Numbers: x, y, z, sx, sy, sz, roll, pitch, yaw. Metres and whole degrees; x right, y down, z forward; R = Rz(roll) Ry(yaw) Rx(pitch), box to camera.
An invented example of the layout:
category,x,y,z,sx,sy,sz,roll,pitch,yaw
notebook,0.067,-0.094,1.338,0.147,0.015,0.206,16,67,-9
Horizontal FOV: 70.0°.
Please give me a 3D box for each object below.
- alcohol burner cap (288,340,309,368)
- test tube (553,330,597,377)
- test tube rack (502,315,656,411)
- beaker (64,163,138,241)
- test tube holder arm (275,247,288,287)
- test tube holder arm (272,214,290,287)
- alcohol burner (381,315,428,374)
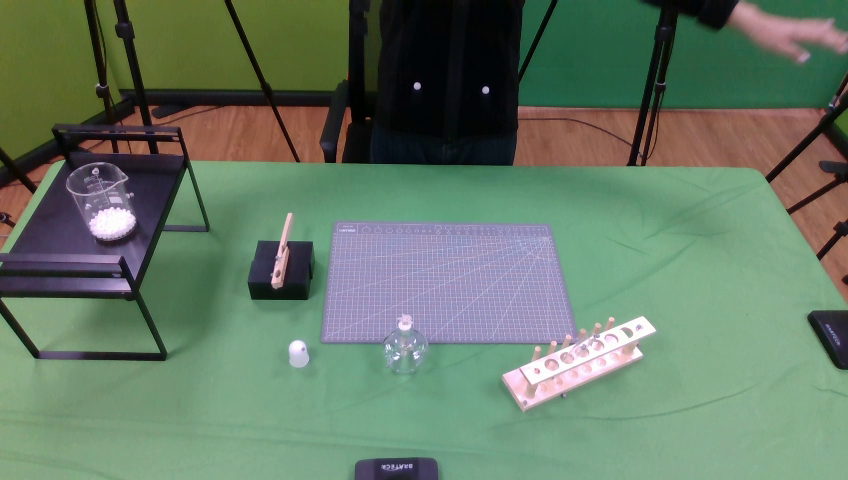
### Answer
category,x,y,z,sx,sy,sz,roll,pitch,yaw
alcohol burner cap,-0.207,0.183,0.991,0.034,0.048,0.033,3,47,-3
test tube,0.226,0.176,0.924,0.017,0.151,0.017,6,55,-9
test tube rack,0.253,0.186,0.989,0.242,0.085,0.066,-18,50,-20
beaker,-0.477,-0.055,0.910,0.084,0.101,0.073,-9,48,-13
test tube holder arm,-0.251,0.046,1.068,0.010,0.015,0.087,-1,45,-3
test tube holder arm,-0.259,0.015,1.099,0.013,0.015,0.177,-1,45,-3
alcohol burner,-0.031,0.162,0.973,0.078,0.120,0.077,2,44,-1
